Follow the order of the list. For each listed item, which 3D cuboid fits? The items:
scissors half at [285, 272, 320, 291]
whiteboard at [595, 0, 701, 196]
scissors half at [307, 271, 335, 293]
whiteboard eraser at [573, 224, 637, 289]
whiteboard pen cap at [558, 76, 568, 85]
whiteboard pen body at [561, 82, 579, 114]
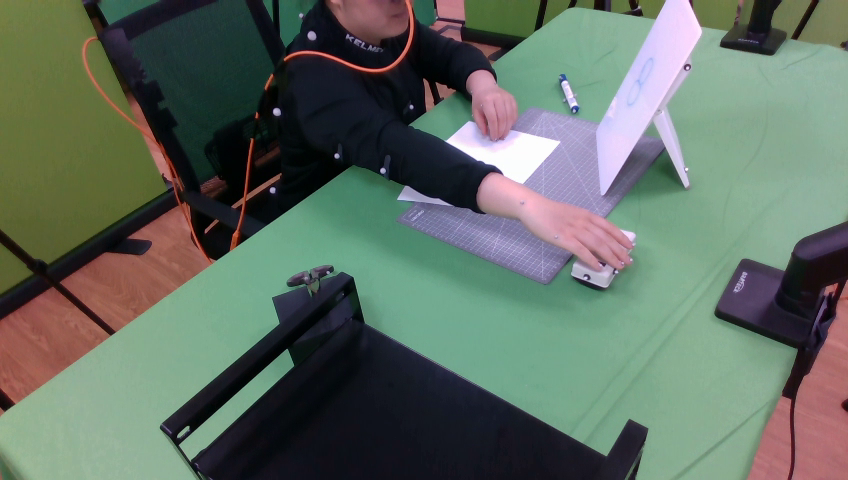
[{"bbox_3d":[-0.171,0.063,0.868,0.040,0.013,0.174,-10,6,-22],"label":"scissors half"},{"bbox_3d":[0.421,-0.227,1.010,0.144,0.305,0.216,18,42,-2],"label":"whiteboard"},{"bbox_3d":[-0.151,0.061,0.873,0.040,0.013,0.175,-3,5,-4],"label":"scissors half"},{"bbox_3d":[0.267,0.025,0.891,0.055,0.042,0.113,19,48,31],"label":"whiteboard eraser"},{"bbox_3d":[0.310,-0.350,1.341,0.018,0.018,0.033,-6,41,2],"label":"whiteboard pen cap"},{"bbox_3d":[0.310,-0.311,1.298,0.017,0.017,0.140,-6,41,2],"label":"whiteboard pen body"}]
